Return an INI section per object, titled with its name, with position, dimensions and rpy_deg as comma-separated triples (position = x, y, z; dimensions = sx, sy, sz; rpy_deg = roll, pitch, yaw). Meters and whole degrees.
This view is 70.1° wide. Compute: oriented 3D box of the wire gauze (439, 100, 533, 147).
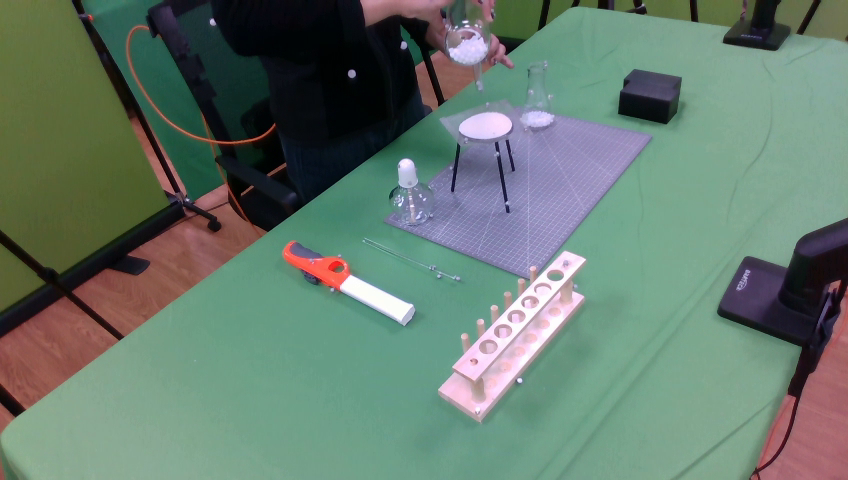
[wire gauze]
position = 0.100, -0.190, 0.994
dimensions = 0.125, 0.011, 0.120
rpy_deg = -15, 39, -7

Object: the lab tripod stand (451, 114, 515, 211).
[lab tripod stand]
position = 0.113, -0.140, 1.037
dimensions = 0.148, 0.132, 0.147
rpy_deg = -6, 38, 5

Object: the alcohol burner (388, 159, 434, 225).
[alcohol burner]
position = -0.023, -0.084, 1.013
dimensions = 0.078, 0.119, 0.077
rpy_deg = -4, 38, 4

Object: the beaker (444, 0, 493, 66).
[beaker]
position = 0.069, -0.323, 0.941
dimensions = 0.074, 0.084, 0.100
rpy_deg = -4, 46, 12

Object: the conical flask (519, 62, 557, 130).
[conical flask]
position = 0.225, -0.287, 1.198
dimensions = 0.075, 0.122, 0.075
rpy_deg = -6, 40, 5

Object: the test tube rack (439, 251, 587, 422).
[test tube rack]
position = 0.118, 0.111, 0.780
dimensions = 0.066, 0.085, 0.243
rpy_deg = 26, 51, 35

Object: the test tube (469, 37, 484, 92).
[test tube]
position = 0.094, -0.306, 1.068
dimensions = 0.017, 0.151, 0.017
rpy_deg = -3, 71, 9

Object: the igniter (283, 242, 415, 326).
[igniter]
position = -0.126, 0.062, 0.931
dimensions = 0.274, 0.025, 0.057
rpy_deg = 23, 60, 33

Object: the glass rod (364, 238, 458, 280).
[glass rod]
position = -0.026, 0.029, 0.966
dimensions = 0.198, 0.008, 0.008
rpy_deg = 21, 49, 35

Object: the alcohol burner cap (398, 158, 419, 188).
[alcohol burner cap]
position = -0.027, -0.111, 0.989
dimensions = 0.034, 0.048, 0.033
rpy_deg = -3, 47, 4
